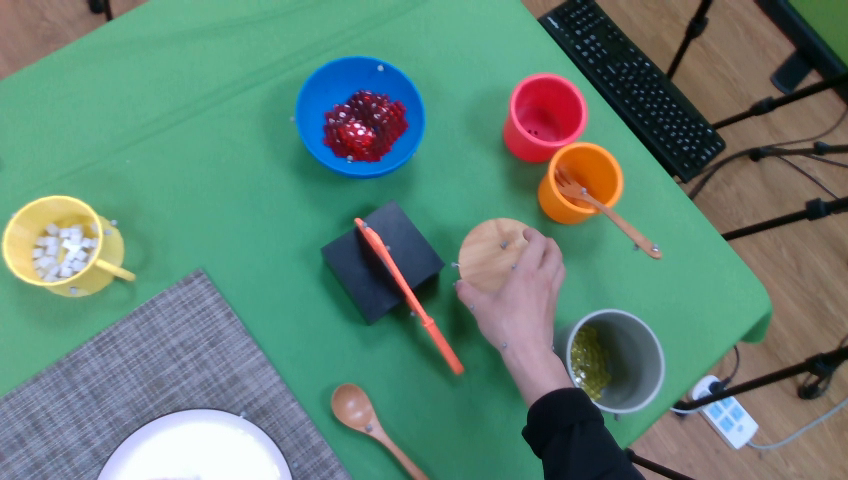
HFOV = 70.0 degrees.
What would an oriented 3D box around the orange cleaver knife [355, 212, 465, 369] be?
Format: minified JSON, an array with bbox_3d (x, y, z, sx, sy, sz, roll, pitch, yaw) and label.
[{"bbox_3d":[-0.017,0.058,0.692,0.012,0.076,0.212,-35,107,-10],"label":"orange cleaver knife"}]

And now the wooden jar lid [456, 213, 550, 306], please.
[{"bbox_3d":[0.090,0.023,0.694,0.108,0.021,0.108,2,78,-6],"label":"wooden jar lid"}]

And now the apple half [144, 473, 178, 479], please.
[{"bbox_3d":[-0.271,0.282,0.608,0.074,0.053,0.080,-39,84,-12],"label":"apple half"}]

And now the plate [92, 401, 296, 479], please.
[{"bbox_3d":[-0.237,0.274,0.630,0.209,0.038,0.208,2,77,-7],"label":"plate"}]

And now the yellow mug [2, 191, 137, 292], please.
[{"bbox_3d":[-0.379,0.010,0.666,0.131,0.064,0.099,25,74,-2],"label":"yellow mug"}]

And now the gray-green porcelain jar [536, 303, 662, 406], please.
[{"bbox_3d":[0.187,0.131,0.678,0.106,0.127,0.105,2,76,-6],"label":"gray-green porcelain jar"}]

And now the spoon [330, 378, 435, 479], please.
[{"bbox_3d":[-0.034,0.231,0.678,0.193,0.022,0.041,45,51,5],"label":"spoon"}]

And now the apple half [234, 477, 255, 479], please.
[{"bbox_3d":[-0.192,0.290,0.625,0.081,0.033,0.081,2,73,-5],"label":"apple half"}]

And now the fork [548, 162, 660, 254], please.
[{"bbox_3d":[0.206,-0.042,0.710,0.028,0.019,0.205,-21,36,-11],"label":"fork"}]

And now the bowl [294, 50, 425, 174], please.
[{"bbox_3d":[-0.078,-0.142,0.735,0.152,0.077,0.150,2,77,-7],"label":"bowl"}]
